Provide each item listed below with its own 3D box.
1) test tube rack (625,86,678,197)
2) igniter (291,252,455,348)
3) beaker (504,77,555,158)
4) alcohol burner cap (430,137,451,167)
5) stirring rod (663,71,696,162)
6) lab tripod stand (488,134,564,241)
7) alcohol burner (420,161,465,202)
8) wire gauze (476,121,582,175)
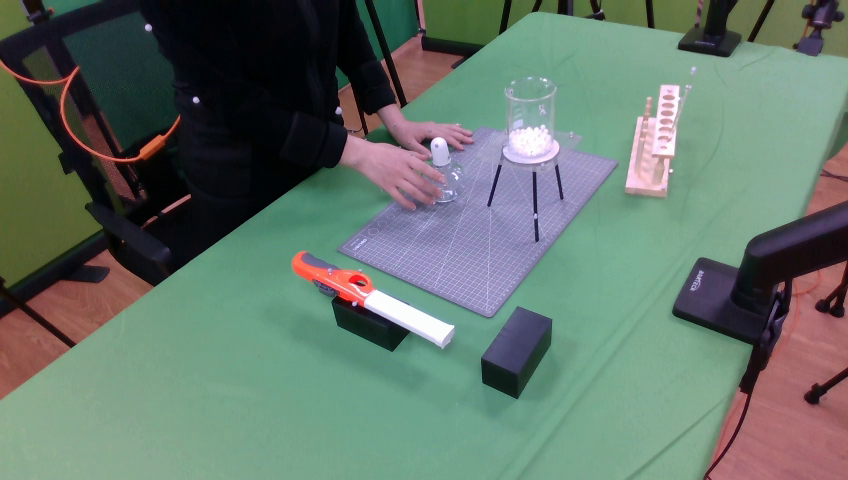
[{"bbox_3d":[0.412,-0.184,1.088,0.066,0.085,0.242,9,43,18],"label":"test tube rack"},{"bbox_3d":[-0.080,0.076,0.822,0.274,0.025,0.057,23,46,27],"label":"igniter"},{"bbox_3d":[0.160,-0.181,0.900,0.084,0.101,0.073,-33,46,-27],"label":"beaker"},{"bbox_3d":[0.027,-0.151,1.021,0.034,0.048,0.033,-7,43,7],"label":"alcohol burner cap"},{"bbox_3d":[0.411,-0.195,0.981,0.014,0.177,0.006,11,50,14],"label":"stirring rod"},{"bbox_3d":[0.168,-0.092,0.972,0.148,0.132,0.147,-5,41,5],"label":"lab tripod stand"},{"bbox_3d":[0.030,-0.125,1.044,0.078,0.119,0.077,-4,42,5],"label":"alcohol burner"},{"bbox_3d":[0.162,-0.142,0.929,0.120,0.011,0.125,19,49,32],"label":"wire gauze"}]
